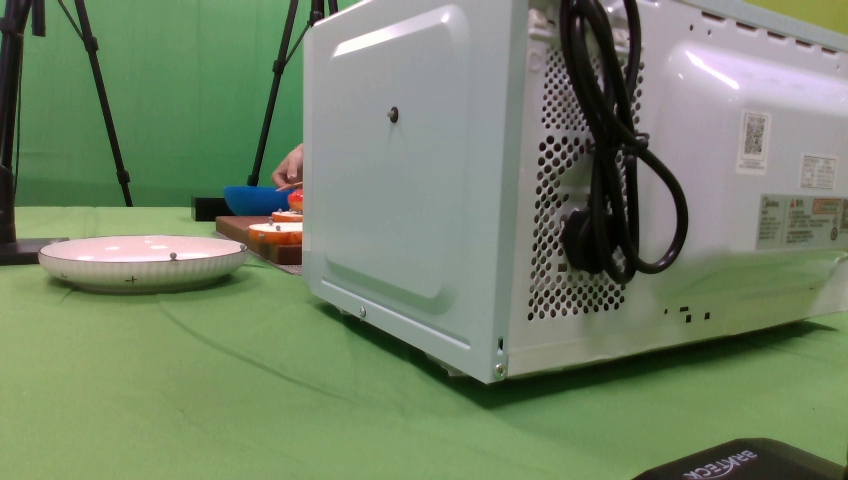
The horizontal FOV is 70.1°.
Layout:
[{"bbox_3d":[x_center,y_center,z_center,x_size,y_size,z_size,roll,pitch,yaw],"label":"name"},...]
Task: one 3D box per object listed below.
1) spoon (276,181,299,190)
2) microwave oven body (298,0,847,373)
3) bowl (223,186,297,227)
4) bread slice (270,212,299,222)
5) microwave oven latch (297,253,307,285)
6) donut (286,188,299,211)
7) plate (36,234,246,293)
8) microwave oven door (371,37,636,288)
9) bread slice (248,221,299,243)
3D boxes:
[{"bbox_3d":[-0.300,-0.102,1.260,0.041,0.021,0.194,4,25,36],"label":"spoon"},{"bbox_3d":[0.151,-0.055,0.542,0.444,0.260,0.324,-2,7,-33],"label":"microwave oven body"},{"bbox_3d":[-0.330,-0.068,1.230,0.151,0.077,0.151,2,7,0],"label":"bowl"},{"bbox_3d":[-0.198,-0.038,1.051,0.132,0.019,0.104,0,6,-31],"label":"bread slice"},{"bbox_3d":[-0.081,0.027,0.582,0.079,0.029,0.030,-1,7,-32],"label":"microwave oven latch"},{"bbox_3d":[-0.190,-0.068,1.055,0.099,0.048,0.099,4,7,0],"label":"donut"},{"bbox_3d":[-0.305,0.026,0.668,0.208,0.039,0.207,3,7,0],"label":"plate"},{"bbox_3d":[0.109,-0.080,0.686,0.358,0.243,0.039,-2,9,-33],"label":"microwave oven door"},{"bbox_3d":[-0.174,-0.012,0.844,0.135,0.018,0.106,-6,10,-44],"label":"bread slice"}]
